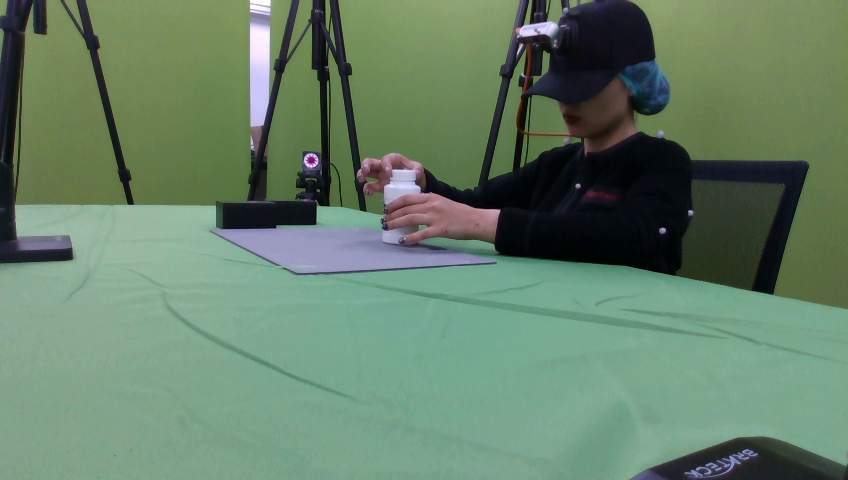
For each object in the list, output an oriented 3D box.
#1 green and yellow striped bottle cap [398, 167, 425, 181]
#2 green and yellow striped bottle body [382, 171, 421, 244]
[{"bbox_3d":[-0.022,-0.110,1.013,0.045,0.020,0.045,-7,11,2],"label":"green and yellow striped bottle cap"},{"bbox_3d":[-0.038,-0.055,1.018,0.063,0.119,0.063,3,8,0],"label":"green and yellow striped bottle body"}]
